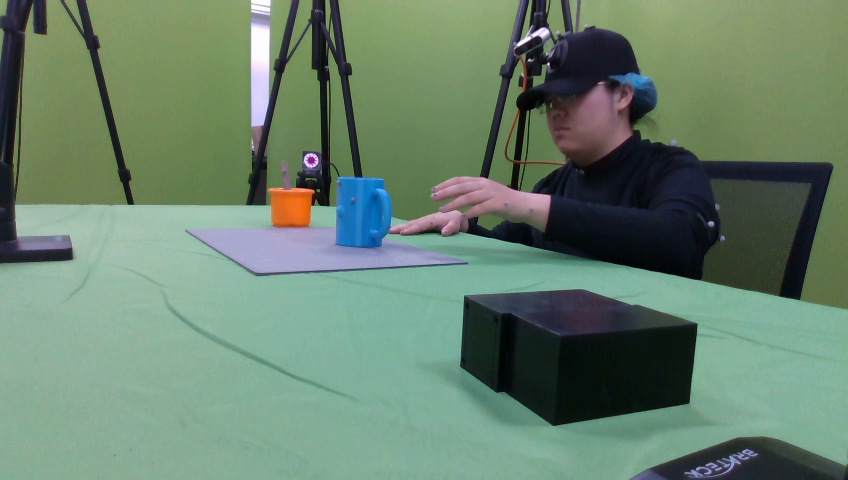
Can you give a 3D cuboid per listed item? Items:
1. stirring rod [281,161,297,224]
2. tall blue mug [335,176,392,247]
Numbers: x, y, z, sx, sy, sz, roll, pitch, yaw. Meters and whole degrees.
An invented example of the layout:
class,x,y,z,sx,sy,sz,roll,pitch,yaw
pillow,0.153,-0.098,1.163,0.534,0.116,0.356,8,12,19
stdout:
class,x,y,z,sx,sy,sz,roll,pitch,yaw
stirring rod,-0.278,-0.099,1.239,0.014,0.006,0.175,2,49,-25
tall blue mug,-0.089,-0.046,0.971,0.107,0.108,0.078,5,7,20
